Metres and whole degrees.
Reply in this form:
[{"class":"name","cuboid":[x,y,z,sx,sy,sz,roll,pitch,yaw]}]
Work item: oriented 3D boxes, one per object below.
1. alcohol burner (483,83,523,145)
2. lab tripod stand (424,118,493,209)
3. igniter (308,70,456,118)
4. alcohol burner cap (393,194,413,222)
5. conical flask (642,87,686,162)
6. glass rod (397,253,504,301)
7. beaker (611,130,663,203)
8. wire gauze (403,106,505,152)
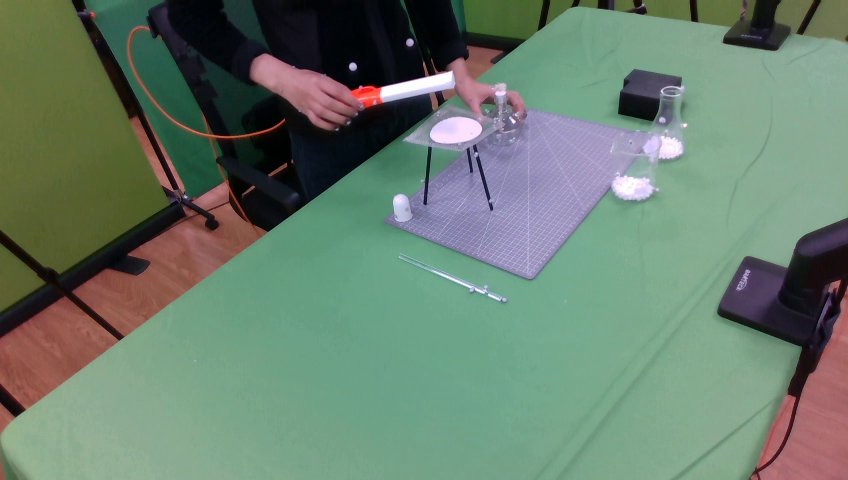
[{"class":"alcohol burner","cuboid":[0.151,-0.246,1.170,0.078,0.120,0.077,-7,39,6]},{"class":"lab tripod stand","cuboid":[0.061,-0.133,1.038,0.148,0.132,0.147,-6,38,6]},{"class":"igniter","cuboid":[-0.079,-0.250,1.046,0.275,0.025,0.057,-8,48,18]},{"class":"alcohol burner cap","cuboid":[-0.038,-0.057,1.038,0.034,0.048,0.033,-6,40,5]},{"class":"conical flask","cuboid":[0.429,-0.206,1.067,0.075,0.122,0.075,-6,40,6]},{"class":"glass rod","cuboid":[0.036,0.054,0.922,0.198,0.008,0.008,22,50,31]},{"class":"beaker","cuboid":[0.346,-0.118,0.998,0.084,0.101,0.073,-17,40,-7]},{"class":"wire gauze","cuboid":[0.049,-0.181,0.992,0.120,0.011,0.125,23,48,34]}]
